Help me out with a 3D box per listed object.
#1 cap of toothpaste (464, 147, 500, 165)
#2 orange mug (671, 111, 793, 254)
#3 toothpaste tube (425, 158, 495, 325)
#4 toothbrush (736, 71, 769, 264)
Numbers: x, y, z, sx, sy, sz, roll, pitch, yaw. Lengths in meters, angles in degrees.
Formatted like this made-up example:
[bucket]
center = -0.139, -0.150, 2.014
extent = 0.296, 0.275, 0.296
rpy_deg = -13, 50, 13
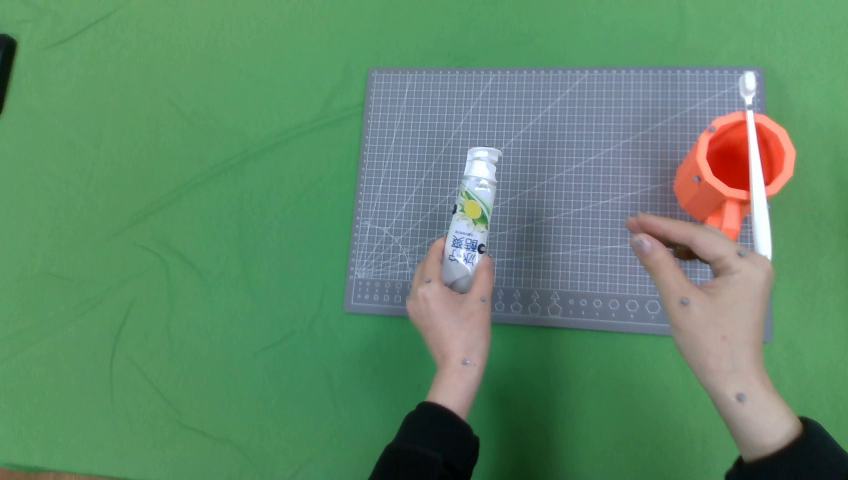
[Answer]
[cap of toothpaste]
center = 0.057, -0.083, 0.601
extent = 0.037, 0.037, 0.011
rpy_deg = -1, 79, 9
[orange mug]
center = 0.297, -0.052, 0.599
extent = 0.083, 0.101, 0.125
rpy_deg = 11, 76, 12
[toothpaste tube]
center = 0.040, -0.002, 0.601
extent = 0.055, 0.035, 0.165
rpy_deg = 11, 89, 23
[toothbrush]
center = 0.298, -0.068, 0.548
extent = 0.014, 0.017, 0.181
rpy_deg = 0, 78, 6
